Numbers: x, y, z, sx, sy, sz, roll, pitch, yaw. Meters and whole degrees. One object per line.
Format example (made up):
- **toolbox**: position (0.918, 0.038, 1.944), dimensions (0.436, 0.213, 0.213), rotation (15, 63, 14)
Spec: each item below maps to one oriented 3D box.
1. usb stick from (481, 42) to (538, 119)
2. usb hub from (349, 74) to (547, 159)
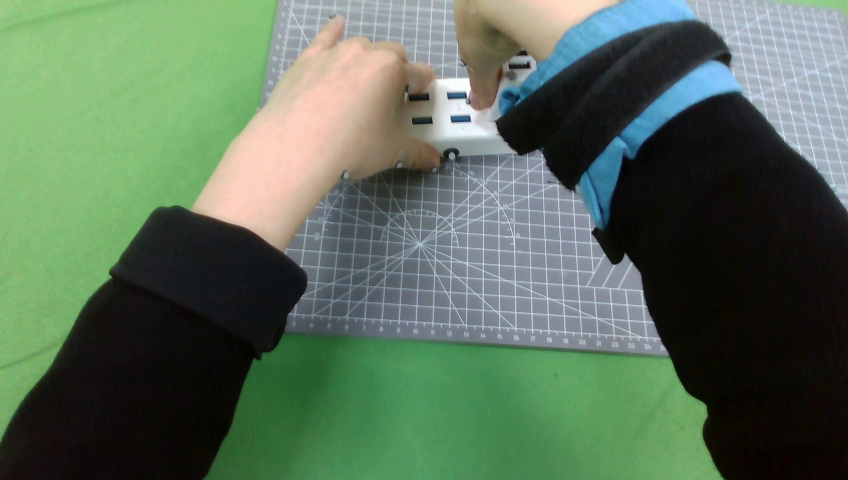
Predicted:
- **usb stick**: position (0.050, -0.093, 0.371), dimensions (0.021, 0.059, 0.027), rotation (-5, 68, -10)
- **usb hub**: position (0.014, -0.083, 0.398), dimensions (0.125, 0.025, 0.049), rotation (-4, 67, -9)
